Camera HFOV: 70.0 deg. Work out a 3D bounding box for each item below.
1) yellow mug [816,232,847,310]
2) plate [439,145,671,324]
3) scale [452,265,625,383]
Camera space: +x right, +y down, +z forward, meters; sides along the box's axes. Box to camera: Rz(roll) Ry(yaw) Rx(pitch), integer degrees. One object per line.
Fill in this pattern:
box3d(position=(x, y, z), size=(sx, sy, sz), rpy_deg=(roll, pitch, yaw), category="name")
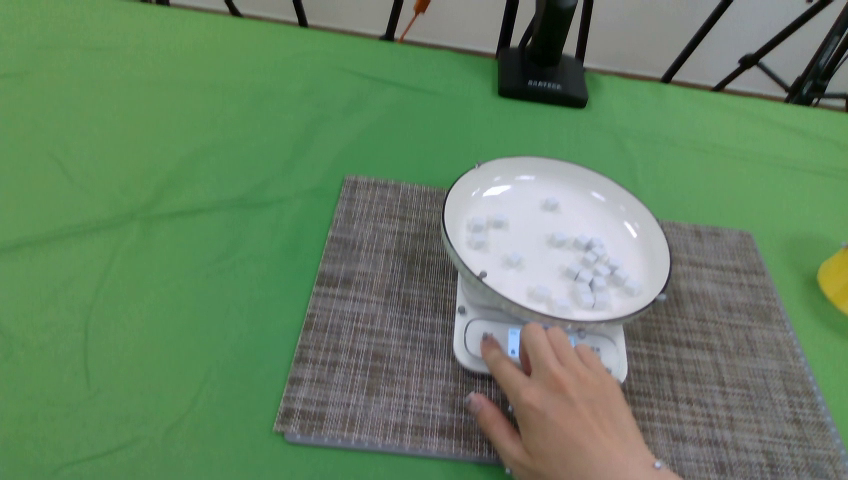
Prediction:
box3d(position=(0.462, 0.038, 0.597), size=(0.100, 0.064, 0.129), rpy_deg=(7, 48, -3), category="yellow mug")
box3d(position=(0.115, -0.007, 0.550), size=(0.209, 0.038, 0.207), rpy_deg=(5, 47, -5), category="plate")
box3d(position=(0.104, 0.032, 0.558), size=(0.149, 0.032, 0.199), rpy_deg=(9, 47, -2), category="scale")
